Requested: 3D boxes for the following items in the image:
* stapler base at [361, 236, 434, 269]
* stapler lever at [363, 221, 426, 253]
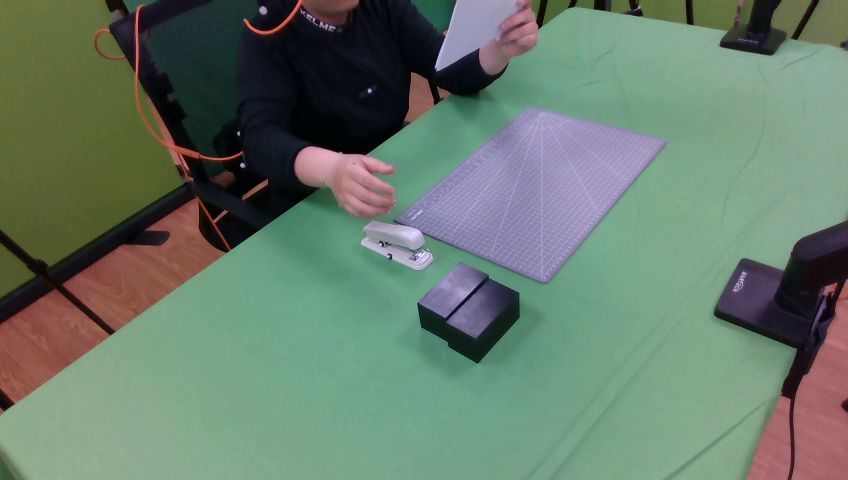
[{"bbox_3d":[-0.044,0.009,0.974,0.129,0.024,0.041,21,46,32],"label":"stapler base"},{"bbox_3d":[-0.048,-0.011,0.958,0.117,0.040,0.027,20,46,32],"label":"stapler lever"}]
